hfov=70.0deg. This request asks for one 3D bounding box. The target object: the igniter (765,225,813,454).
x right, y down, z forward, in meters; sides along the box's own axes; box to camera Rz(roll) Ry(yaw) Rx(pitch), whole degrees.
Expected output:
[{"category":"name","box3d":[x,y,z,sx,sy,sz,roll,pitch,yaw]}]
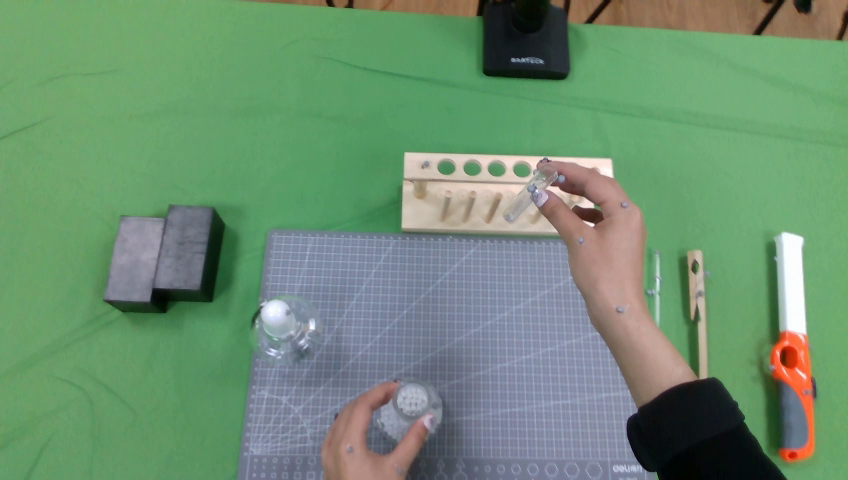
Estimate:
[{"category":"igniter","box3d":[0.432,0.112,0.721,0.057,0.025,0.275,13,70,-9]}]

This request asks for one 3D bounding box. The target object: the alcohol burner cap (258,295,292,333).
[{"category":"alcohol burner cap","box3d":[-0.152,0.072,0.610,0.034,0.048,0.033,3,66,-7]}]

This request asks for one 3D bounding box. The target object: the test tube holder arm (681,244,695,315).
[{"category":"test tube holder arm","box3d":[0.325,0.048,0.744,0.010,0.015,0.087,-10,66,33]}]

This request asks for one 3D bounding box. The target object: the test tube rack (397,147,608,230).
[{"category":"test tube rack","box3d":[0.090,-0.060,0.731,0.242,0.085,0.066,1,70,-3]}]

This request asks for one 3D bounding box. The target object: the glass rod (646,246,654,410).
[{"category":"glass rod","box3d":[0.271,0.102,0.724,0.008,0.008,0.198,8,72,-1]}]

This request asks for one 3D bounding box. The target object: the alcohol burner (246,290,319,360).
[{"category":"alcohol burner","box3d":[-0.153,0.086,0.643,0.078,0.120,0.077,1,69,-1]}]

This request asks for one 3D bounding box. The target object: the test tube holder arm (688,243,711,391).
[{"category":"test tube holder arm","box3d":[0.328,0.089,0.725,0.013,0.015,0.177,-12,65,32]}]

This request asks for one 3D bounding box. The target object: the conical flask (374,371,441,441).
[{"category":"conical flask","box3d":[-0.016,0.164,0.620,0.075,0.122,0.075,1,69,-3]}]

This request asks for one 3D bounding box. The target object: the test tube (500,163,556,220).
[{"category":"test tube","box3d":[0.092,-0.042,0.557,0.017,0.150,0.017,1,79,-5]}]
